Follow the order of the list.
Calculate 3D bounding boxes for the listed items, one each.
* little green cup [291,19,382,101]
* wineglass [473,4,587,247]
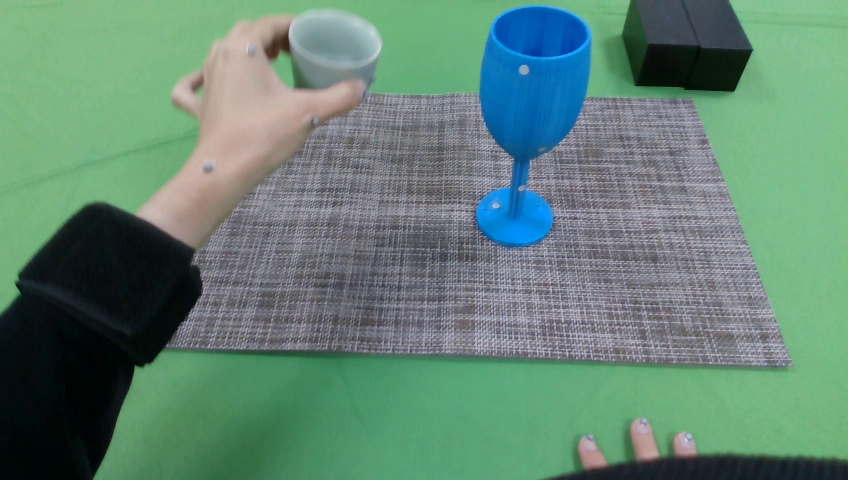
[{"bbox_3d":[-0.062,-0.124,0.417,0.062,0.039,0.061,10,34,-6],"label":"little green cup"},{"bbox_3d":[0.071,-0.075,0.441,0.074,0.174,0.073,0,50,1],"label":"wineglass"}]
